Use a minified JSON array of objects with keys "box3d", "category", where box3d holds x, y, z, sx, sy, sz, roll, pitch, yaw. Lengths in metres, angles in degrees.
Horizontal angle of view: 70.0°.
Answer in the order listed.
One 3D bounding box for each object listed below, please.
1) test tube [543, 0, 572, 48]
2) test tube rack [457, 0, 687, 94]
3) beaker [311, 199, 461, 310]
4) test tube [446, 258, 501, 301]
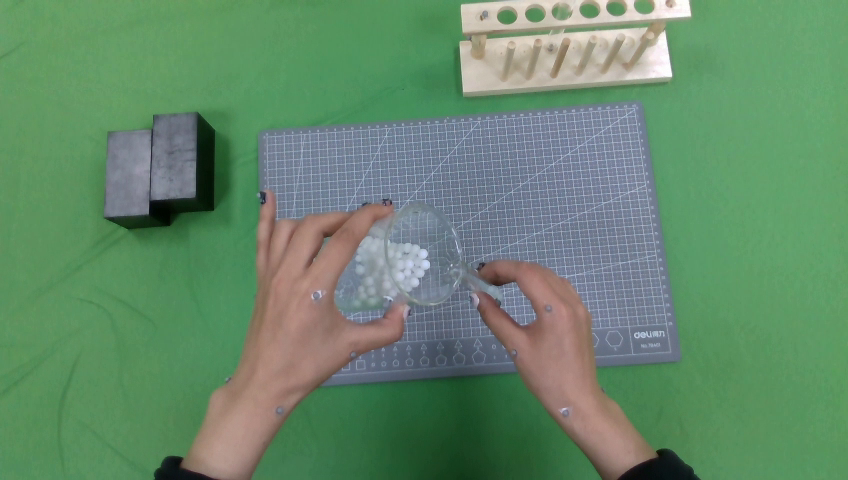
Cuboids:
[{"box3d":[0.147,-0.250,0.639,0.017,0.151,0.017,0,75,-1],"category":"test tube"},{"box3d":[0.160,-0.222,0.683,0.242,0.085,0.066,-4,78,1],"category":"test tube rack"},{"box3d":[-0.031,0.016,0.463,0.085,0.100,0.073,21,68,-38],"category":"beaker"},{"box3d":[0.046,0.037,0.525,0.017,0.151,0.017,-4,76,17],"category":"test tube"}]
